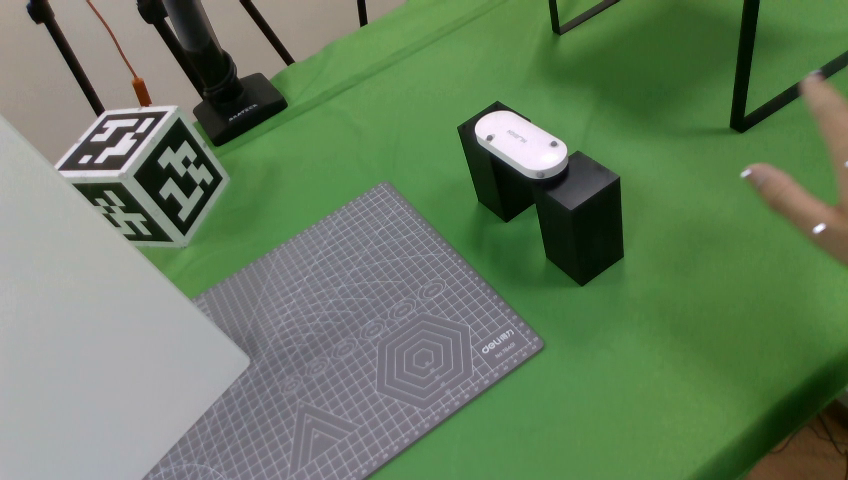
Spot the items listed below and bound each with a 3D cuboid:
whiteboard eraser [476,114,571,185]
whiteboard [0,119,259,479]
[{"bbox_3d":[0.083,-0.081,0.524,0.041,0.019,0.100,-34,47,-13],"label":"whiteboard eraser"},{"bbox_3d":[-0.340,0.082,0.519,0.143,0.308,0.216,8,51,52],"label":"whiteboard"}]
